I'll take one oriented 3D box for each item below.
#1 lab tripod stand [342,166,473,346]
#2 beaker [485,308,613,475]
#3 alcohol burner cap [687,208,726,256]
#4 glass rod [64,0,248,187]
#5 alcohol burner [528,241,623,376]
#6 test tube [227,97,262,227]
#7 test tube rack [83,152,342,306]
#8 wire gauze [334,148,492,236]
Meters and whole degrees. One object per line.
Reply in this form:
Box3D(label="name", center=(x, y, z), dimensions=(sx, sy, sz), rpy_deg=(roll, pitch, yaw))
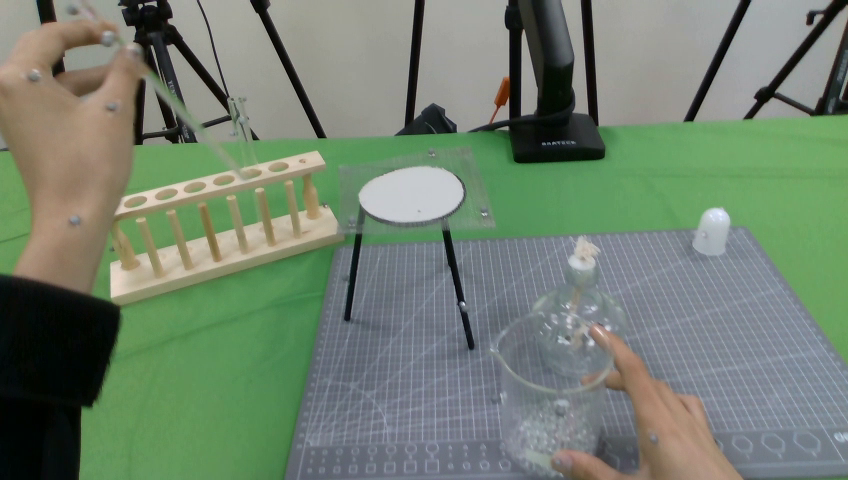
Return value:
Box3D(label="lab tripod stand", center=(-0.010, 0.013, 0.542), dimensions=(0.148, 0.133, 0.147), rpy_deg=(-3, 38, 3))
Box3D(label="beaker", center=(0.085, 0.110, 0.428), dimensions=(0.084, 0.101, 0.073), rpy_deg=(3, 36, 10))
Box3D(label="alcohol burner cap", center=(0.292, -0.010, 0.623), dimensions=(0.034, 0.048, 0.033), rpy_deg=(-2, 36, 2))
Box3D(label="glass rod", center=(-0.172, -0.093, 0.394), dimensions=(0.008, 0.202, 0.008), rpy_deg=(-9, 57, 15))
Box3D(label="alcohol burner", center=(0.124, 0.052, 0.492), dimensions=(0.078, 0.120, 0.077), rpy_deg=(-3, 34, 2))
Box3D(label="test tube", center=(-0.187, -0.079, 0.648), dimensions=(0.017, 0.151, 0.017), rpy_deg=(-2, 33, 2))
Box3D(label="test tube rack", center=(-0.219, -0.016, 0.649), dimensions=(0.243, 0.086, 0.066), rpy_deg=(-17, 38, -17))
Box3D(label="wire gauze", center=(-0.014, -0.041, 0.502), dimensions=(0.125, 0.011, 0.120), rpy_deg=(-6, 36, -2))
